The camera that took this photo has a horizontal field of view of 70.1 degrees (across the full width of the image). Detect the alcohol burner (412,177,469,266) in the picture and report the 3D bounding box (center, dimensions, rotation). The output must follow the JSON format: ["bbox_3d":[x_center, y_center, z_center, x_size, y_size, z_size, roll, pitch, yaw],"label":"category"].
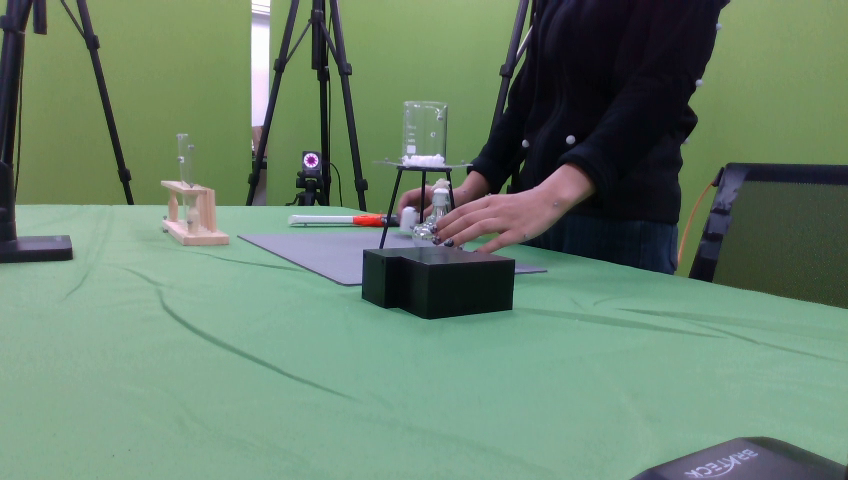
[{"bbox_3d":[0.023,-0.025,0.821,0.078,0.119,0.078,1,9,0],"label":"alcohol burner"}]

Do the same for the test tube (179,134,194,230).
[{"bbox_3d":[-0.366,-0.089,0.938,0.017,0.150,0.017,-1,9,1],"label":"test tube"}]

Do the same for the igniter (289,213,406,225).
[{"bbox_3d":[-0.144,-0.044,1.275,0.278,0.025,0.057,-1,-1,-27],"label":"igniter"}]

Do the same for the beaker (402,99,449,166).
[{"bbox_3d":[0.003,-0.168,0.957,0.073,0.100,0.084,8,11,35],"label":"beaker"}]

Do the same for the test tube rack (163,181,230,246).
[{"bbox_3d":[-0.387,-0.050,1.015,0.067,0.085,0.241,-2,9,-30],"label":"test tube rack"}]

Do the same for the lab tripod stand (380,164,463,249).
[{"bbox_3d":[-0.003,-0.055,0.967,0.148,0.131,0.148,3,9,0],"label":"lab tripod stand"}]

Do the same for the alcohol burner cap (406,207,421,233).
[{"bbox_3d":[-0.019,-0.037,1.105,0.034,0.048,0.034,-3,1,0],"label":"alcohol burner cap"}]

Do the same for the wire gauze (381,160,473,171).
[{"bbox_3d":[-0.004,-0.120,0.959,0.122,0.011,0.124,-5,13,-33],"label":"wire gauze"}]
